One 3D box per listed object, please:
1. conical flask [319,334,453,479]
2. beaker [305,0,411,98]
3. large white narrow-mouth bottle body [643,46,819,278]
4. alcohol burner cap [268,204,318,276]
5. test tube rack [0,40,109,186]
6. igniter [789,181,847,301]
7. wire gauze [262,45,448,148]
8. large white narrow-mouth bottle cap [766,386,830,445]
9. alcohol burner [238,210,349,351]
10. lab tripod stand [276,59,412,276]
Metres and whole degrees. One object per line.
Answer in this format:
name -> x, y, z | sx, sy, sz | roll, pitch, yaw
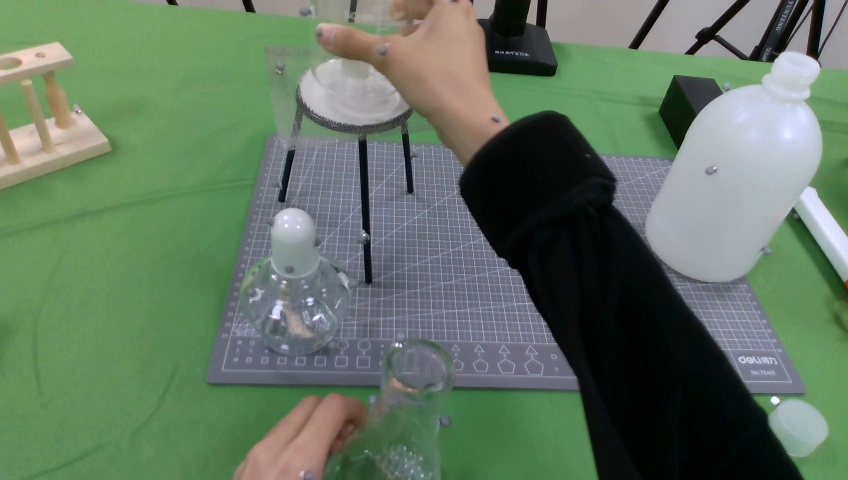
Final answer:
conical flask -> -0.016, 0.108, 0.340 | 0.075, 0.122, 0.074 | 11, 36, -7
beaker -> -0.048, -0.156, 0.413 | 0.084, 0.101, 0.073 | -3, 45, -13
large white narrow-mouth bottle body -> 0.260, -0.065, 0.503 | 0.102, 0.196, 0.101 | 4, 45, -3
alcohol burner cap -> -0.086, -0.002, 0.395 | 0.034, 0.048, 0.033 | 4, 51, -4
test tube rack -> -0.409, -0.085, 0.504 | 0.242, 0.086, 0.066 | -30, 56, -32
igniter -> 0.393, 0.039, 0.542 | 0.057, 0.025, 0.273 | 11, 44, -12
wire gauze -> -0.055, -0.114, 0.453 | 0.122, 0.011, 0.123 | -7, 48, -15
large white narrow-mouth bottle cap -> 0.271, 0.128, 0.441 | 0.038, 0.024, 0.037 | 4, 45, -4
alcohol burner -> -0.090, 0.023, 0.421 | 0.078, 0.120, 0.077 | 6, 43, -5
lab tripod stand -> -0.058, -0.065, 0.500 | 0.148, 0.132, 0.147 | 6, 45, -5
